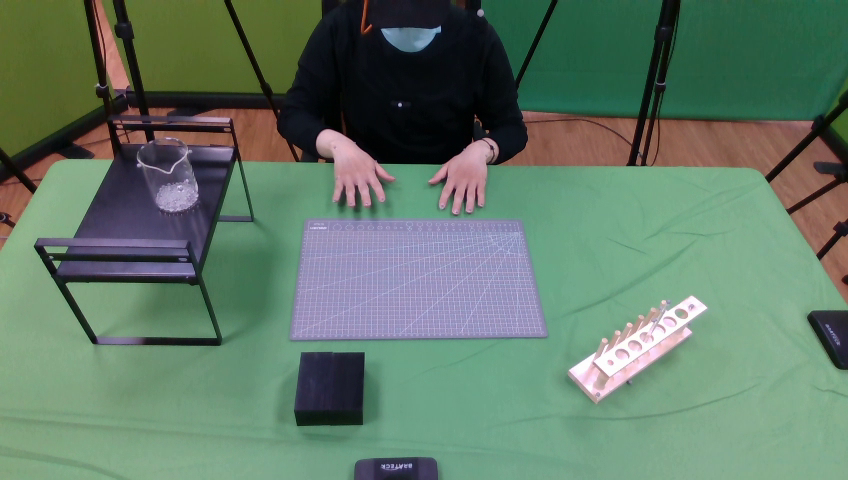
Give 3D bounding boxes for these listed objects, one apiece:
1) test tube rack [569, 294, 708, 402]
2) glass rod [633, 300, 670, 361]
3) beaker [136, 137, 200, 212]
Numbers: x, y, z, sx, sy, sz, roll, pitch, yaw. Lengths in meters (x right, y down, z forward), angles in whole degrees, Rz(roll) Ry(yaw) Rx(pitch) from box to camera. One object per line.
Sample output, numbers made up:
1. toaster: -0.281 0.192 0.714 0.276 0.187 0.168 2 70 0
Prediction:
1. test tube rack: 0.360 0.167 1.014 0.242 0.085 0.066 -25 53 -25
2. glass rod: 0.351 0.144 0.944 0.008 0.201 0.008 -1 55 1
3. beaker: -0.399 -0.098 0.957 0.074 0.101 0.083 -19 51 -20
